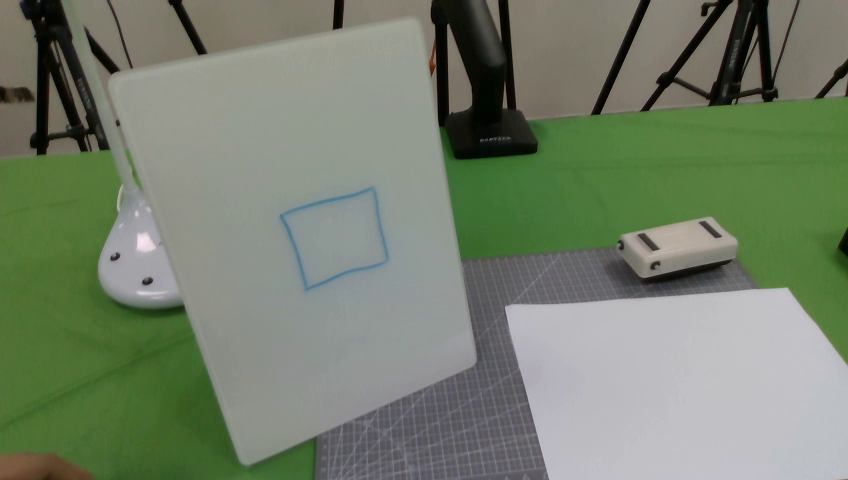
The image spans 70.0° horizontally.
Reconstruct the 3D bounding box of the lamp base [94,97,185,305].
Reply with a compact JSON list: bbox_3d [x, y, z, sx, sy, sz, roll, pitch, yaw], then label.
[{"bbox_3d":[-0.284,-0.050,0.629,0.178,0.182,0.160,21,43,29],"label":"lamp base"}]

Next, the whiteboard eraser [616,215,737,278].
[{"bbox_3d":[0.268,0.009,0.647,0.113,0.042,0.055,-11,40,-12],"label":"whiteboard eraser"}]

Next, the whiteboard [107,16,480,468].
[{"bbox_3d":[-0.099,-0.010,0.519,0.218,0.307,0.142,-19,22,-20],"label":"whiteboard"}]
